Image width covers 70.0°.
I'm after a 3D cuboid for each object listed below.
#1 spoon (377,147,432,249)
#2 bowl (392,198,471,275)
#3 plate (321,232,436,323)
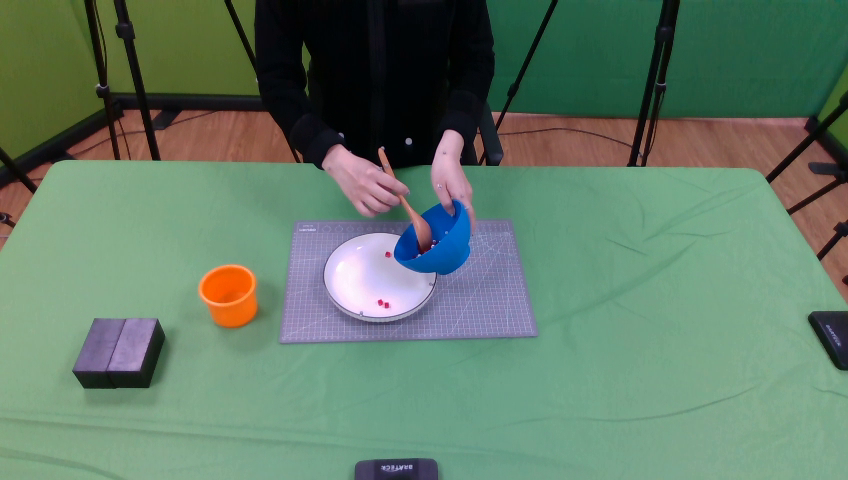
[{"bbox_3d":[-0.035,-0.070,1.028,0.021,0.194,0.041,-15,22,43],"label":"spoon"},{"bbox_3d":[0.027,0.008,1.043,0.151,0.077,0.150,-34,24,18],"label":"bowl"},{"bbox_3d":[-0.083,0.070,1.109,0.209,0.038,0.208,3,46,-2],"label":"plate"}]
